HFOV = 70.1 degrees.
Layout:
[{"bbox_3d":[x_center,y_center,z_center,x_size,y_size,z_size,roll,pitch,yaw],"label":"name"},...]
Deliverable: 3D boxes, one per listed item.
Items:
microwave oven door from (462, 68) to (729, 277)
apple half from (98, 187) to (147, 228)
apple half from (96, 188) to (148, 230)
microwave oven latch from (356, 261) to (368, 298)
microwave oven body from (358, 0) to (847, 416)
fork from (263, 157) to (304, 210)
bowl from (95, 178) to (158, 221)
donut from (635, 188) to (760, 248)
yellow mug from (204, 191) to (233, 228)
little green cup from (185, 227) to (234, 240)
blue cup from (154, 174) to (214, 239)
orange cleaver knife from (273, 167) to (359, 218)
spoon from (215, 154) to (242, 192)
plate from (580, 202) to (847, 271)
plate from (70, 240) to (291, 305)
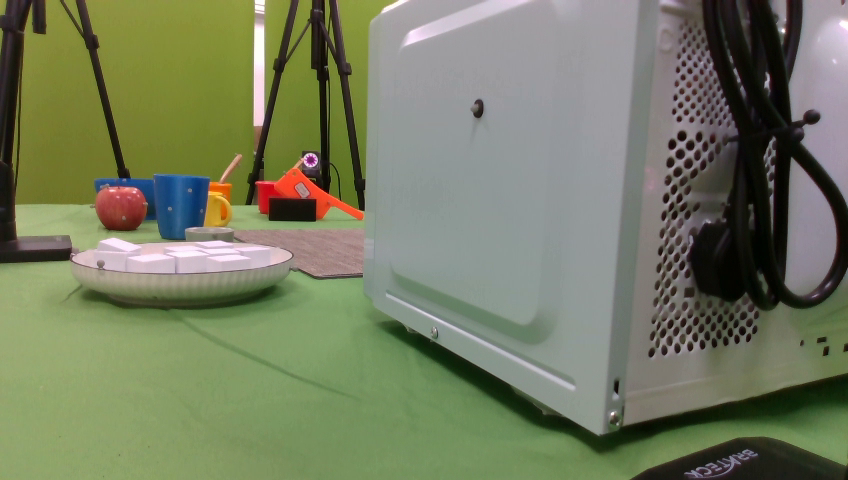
[{"bbox_3d":[0.205,-0.096,0.811,0.354,0.243,0.039,9,11,40],"label":"microwave oven door"},{"bbox_3d":[-0.534,-0.059,1.071,0.082,0.081,0.032,-1,11,-25],"label":"apple half"},{"bbox_3d":[-0.517,-0.052,1.036,0.081,0.074,0.053,2,10,-26],"label":"apple half"},{"bbox_3d":[-0.019,0.033,0.529,0.079,0.029,0.030,0,7,-25],"label":"microwave oven latch"},{"bbox_3d":[0.211,-0.047,0.474,0.444,0.260,0.324,-1,7,-28],"label":"microwave oven body"},{"bbox_3d":[-0.345,-0.143,1.505,0.028,0.019,0.207,-4,46,28],"label":"fork"},{"bbox_3d":[-0.576,-0.081,1.217,0.151,0.077,0.151,3,8,0],"label":"bowl"},{"bbox_3d":[0.232,-0.017,0.518,0.099,0.048,0.099,8,3,0],"label":"donut"},{"bbox_3d":[-0.415,-0.057,1.132,0.130,0.064,0.100,6,8,16],"label":"yellow mug"},{"bbox_3d":[-0.285,0.005,0.805,0.061,0.038,0.061,2,8,0],"label":"little green cup"},{"bbox_3d":[-0.391,-0.053,0.977,0.093,0.100,0.092,4,6,0],"label":"blue cup"},{"bbox_3d":[-0.238,-0.091,1.381,0.212,0.077,0.012,31,0,-19],"label":"orange cleaver knife"},{"bbox_3d":[-0.438,-0.124,1.318,0.041,0.193,0.022,6,-36,15],"label":"spoon"},{"bbox_3d":[0.238,-0.006,0.510,0.209,0.038,0.209,-1,8,0],"label":"plate"},{"bbox_3d":[-0.242,0.031,0.618,0.208,0.039,0.207,2,8,0],"label":"plate"}]
